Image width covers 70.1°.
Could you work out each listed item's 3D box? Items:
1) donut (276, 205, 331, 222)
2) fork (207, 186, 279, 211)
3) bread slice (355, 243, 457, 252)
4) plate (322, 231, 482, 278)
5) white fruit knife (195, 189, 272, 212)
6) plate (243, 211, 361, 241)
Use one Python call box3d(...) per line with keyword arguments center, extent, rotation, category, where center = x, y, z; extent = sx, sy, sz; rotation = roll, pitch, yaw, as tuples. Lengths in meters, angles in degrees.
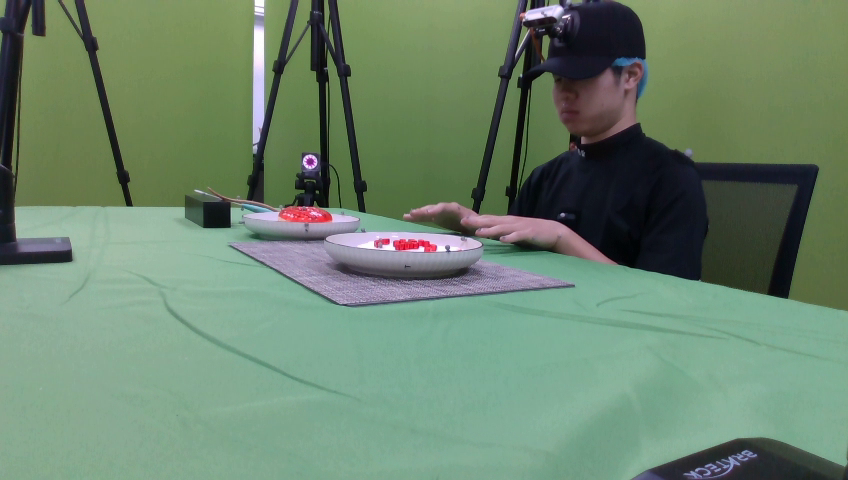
box3d(center=(-0.218, -0.037, 1.091), extent=(0.099, 0.048, 0.099), rotation=(5, 9, 0), category="donut")
box3d(center=(-0.342, -0.070, 1.244), extent=(0.208, 0.018, 0.028), rotation=(18, -5, -24), category="fork")
box3d(center=(-0.027, 0.019, 0.793), extent=(0.131, 0.019, 0.105), rotation=(6, 7, 18), category="bread slice")
box3d(center=(-0.028, 0.018, 0.789), extent=(0.209, 0.038, 0.209), rotation=(3, 7, 0), category="plate")
box3d(center=(-0.378, -0.073, 1.270), extent=(0.208, 0.016, 0.027), rotation=(18, -4, -32), category="white fruit knife")
box3d(center=(-0.219, -0.025, 1.092), extent=(0.208, 0.039, 0.207), rotation=(2, 7, 0), category="plate")
